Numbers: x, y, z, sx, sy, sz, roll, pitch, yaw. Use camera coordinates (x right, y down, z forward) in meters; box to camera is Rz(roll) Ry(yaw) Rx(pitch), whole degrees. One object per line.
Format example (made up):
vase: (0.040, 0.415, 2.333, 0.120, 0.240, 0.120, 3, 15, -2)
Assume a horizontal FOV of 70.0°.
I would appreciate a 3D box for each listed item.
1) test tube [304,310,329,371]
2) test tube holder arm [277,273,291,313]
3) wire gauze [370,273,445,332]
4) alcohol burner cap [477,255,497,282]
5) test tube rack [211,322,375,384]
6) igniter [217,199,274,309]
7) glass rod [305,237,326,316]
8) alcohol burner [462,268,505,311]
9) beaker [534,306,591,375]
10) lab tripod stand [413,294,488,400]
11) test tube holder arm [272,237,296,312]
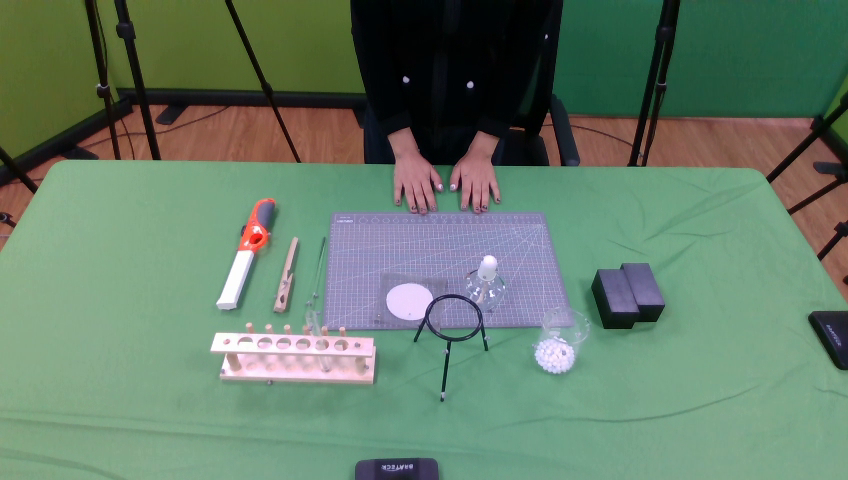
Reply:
test tube: (-0.162, 0.156, 0.924, 0.017, 0.151, 0.017, -1, 48, 1)
test tube holder arm: (-0.253, 0.093, 1.094, 0.010, 0.015, 0.087, 26, 39, -25)
wire gauze: (-0.028, 0.109, 1.100, 0.125, 0.011, 0.121, 7, 45, 4)
alcohol burner cap: (0.110, 0.047, 1.046, 0.034, 0.048, 0.033, 2, 52, -2)
test tube rack: (-0.202, 0.176, 0.969, 0.242, 0.085, 0.066, 3, 46, -2)
igniter: (-0.336, 0.017, 1.153, 0.057, 0.025, 0.275, -2, 45, 8)
glass rod: (-0.202, 0.063, 1.131, 0.008, 0.008, 0.198, 4, 44, 0)
alcohol burner: (0.108, 0.071, 1.073, 0.078, 0.119, 0.077, 4, 45, -3)
beaker: (0.226, 0.169, 1.002, 0.084, 0.101, 0.073, -6, 47, -10)
lab tripod stand: (0.044, 0.159, 0.972, 0.148, 0.132, 0.147, 3, 44, -2)
test tube holder arm: (-0.258, 0.060, 1.123, 0.013, 0.015, 0.177, 27, 39, -24)
